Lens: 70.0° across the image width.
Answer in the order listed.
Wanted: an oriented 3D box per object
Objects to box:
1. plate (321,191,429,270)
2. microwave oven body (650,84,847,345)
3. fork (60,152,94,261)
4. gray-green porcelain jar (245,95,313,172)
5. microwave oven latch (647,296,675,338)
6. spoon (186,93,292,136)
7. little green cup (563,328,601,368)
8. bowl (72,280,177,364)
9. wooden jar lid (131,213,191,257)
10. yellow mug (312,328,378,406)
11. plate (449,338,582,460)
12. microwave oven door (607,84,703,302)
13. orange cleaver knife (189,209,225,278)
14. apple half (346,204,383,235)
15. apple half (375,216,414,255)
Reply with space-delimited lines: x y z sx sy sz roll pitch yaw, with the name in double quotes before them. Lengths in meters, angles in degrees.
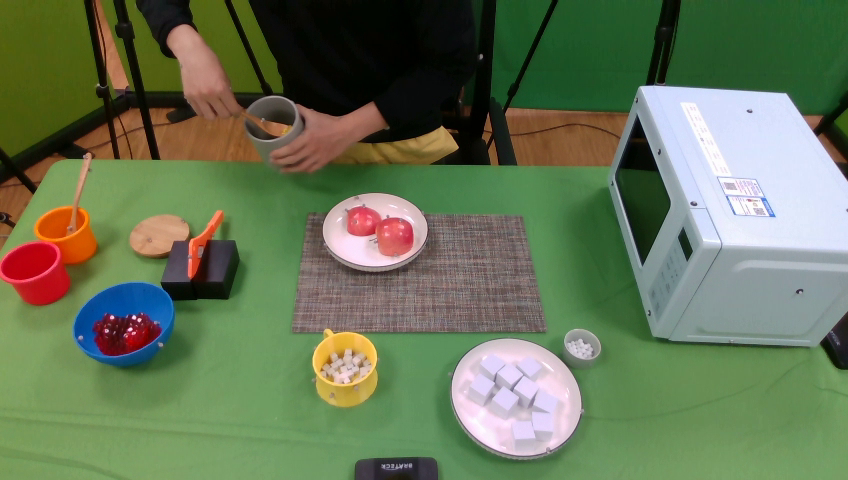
"plate" -0.094 -0.015 1.185 0.209 0.038 0.208 2 46 -2
"microwave oven body" 0.569 -0.054 1.116 0.326 0.261 0.439 2 46 -1
"fork" -0.638 -0.063 1.119 0.028 0.018 0.207 12 90 7
"gray-green porcelain jar" -0.279 -0.203 1.190 0.106 0.127 0.105 -2 65 4
"microwave oven latch" 0.413 0.133 1.060 0.030 0.029 0.078 5 46 2
"spoon" -0.334 -0.232 1.107 0.194 0.022 0.041 21 41 -24
"little green cup" 0.265 0.185 1.025 0.061 0.039 0.061 1 45 -1
"bowl" -0.473 0.147 0.982 0.151 0.077 0.150 2 46 -2
"wooden jar lid" -0.504 -0.008 1.167 0.108 0.021 0.107 3 46 -3
"yellow mug" -0.132 0.193 0.971 0.100 0.064 0.130 -22 51 -22
"plate" 0.141 0.251 0.956 0.208 0.039 0.206 2 46 -2
"microwave oven door" 0.424 -0.096 1.138 0.039 0.245 0.353 3 46 -1
"orange cleaver knife" -0.401 0.002 1.122 0.012 0.077 0.210 3 22 -4
"apple half" -0.119 -0.049 1.207 0.081 0.033 0.081 2 50 -3
"apple half" -0.056 -0.017 1.169 0.075 0.053 0.080 0 46 -7
